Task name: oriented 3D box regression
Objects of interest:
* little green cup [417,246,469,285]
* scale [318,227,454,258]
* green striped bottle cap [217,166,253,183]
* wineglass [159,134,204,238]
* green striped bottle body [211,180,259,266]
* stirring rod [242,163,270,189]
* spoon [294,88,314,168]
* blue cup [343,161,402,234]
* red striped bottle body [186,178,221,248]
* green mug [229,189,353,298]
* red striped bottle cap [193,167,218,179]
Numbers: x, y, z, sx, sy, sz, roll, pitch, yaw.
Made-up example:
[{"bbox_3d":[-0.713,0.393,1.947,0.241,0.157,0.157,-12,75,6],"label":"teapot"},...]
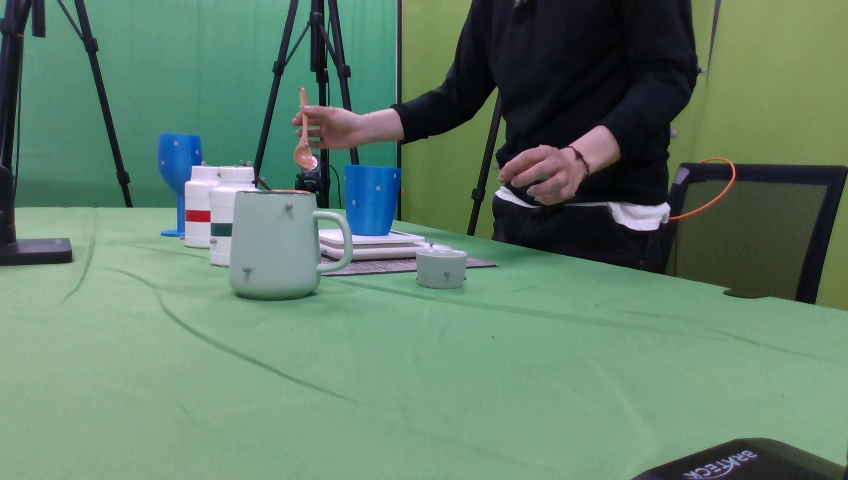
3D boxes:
[{"bbox_3d":[0.021,0.029,0.701,0.061,0.038,0.061,1,6,0],"label":"little green cup"},{"bbox_3d":[-0.067,0.001,0.906,0.202,0.031,0.148,-2,8,-31],"label":"scale"},{"bbox_3d":[-0.242,-0.085,0.777,0.044,0.020,0.044,2,9,0],"label":"green striped bottle cap"},{"bbox_3d":[-0.415,-0.093,1.040,0.074,0.172,0.073,2,7,0],"label":"wineglass"},{"bbox_3d":[-0.243,-0.029,0.784,0.063,0.119,0.063,2,7,0],"label":"green striped bottle body"},{"bbox_3d":[-0.298,-0.091,1.198,0.014,0.006,0.177,10,-31,45],"label":"stirring rod"},{"bbox_3d":[-0.235,-0.223,1.188,0.042,0.193,0.021,11,-27,-32],"label":"spoon"},{"bbox_3d":[-0.078,-0.062,0.884,0.093,0.100,0.092,4,6,0],"label":"blue cup"},{"bbox_3d":[-0.331,-0.050,0.927,0.063,0.119,0.063,2,6,0],"label":"red striped bottle body"},{"bbox_3d":[-0.135,0.002,0.618,0.125,0.105,0.092,2,7,4],"label":"green mug"},{"bbox_3d":[-0.329,-0.103,0.921,0.044,0.017,0.044,-1,9,0],"label":"red striped bottle cap"}]
